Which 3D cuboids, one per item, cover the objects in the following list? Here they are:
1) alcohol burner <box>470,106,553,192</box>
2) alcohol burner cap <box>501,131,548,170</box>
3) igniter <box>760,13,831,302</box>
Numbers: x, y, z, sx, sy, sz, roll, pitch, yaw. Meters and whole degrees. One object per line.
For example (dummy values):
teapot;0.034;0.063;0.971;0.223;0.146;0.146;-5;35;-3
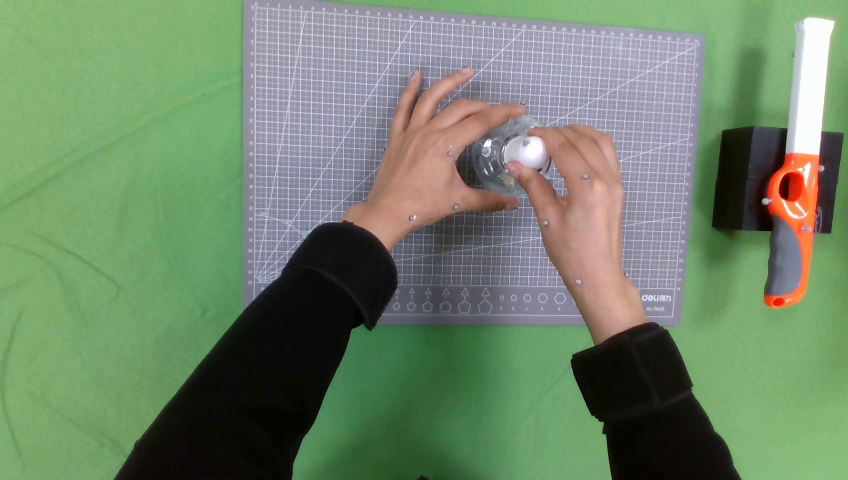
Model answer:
alcohol burner;0.084;-0.081;0.542;0.078;0.118;0.078;-1;97;-10
alcohol burner cap;0.087;-0.076;0.512;0.034;0.047;0.034;-1;96;-8
igniter;0.359;-0.076;0.584;0.057;0.025;0.276;4;93;-8
